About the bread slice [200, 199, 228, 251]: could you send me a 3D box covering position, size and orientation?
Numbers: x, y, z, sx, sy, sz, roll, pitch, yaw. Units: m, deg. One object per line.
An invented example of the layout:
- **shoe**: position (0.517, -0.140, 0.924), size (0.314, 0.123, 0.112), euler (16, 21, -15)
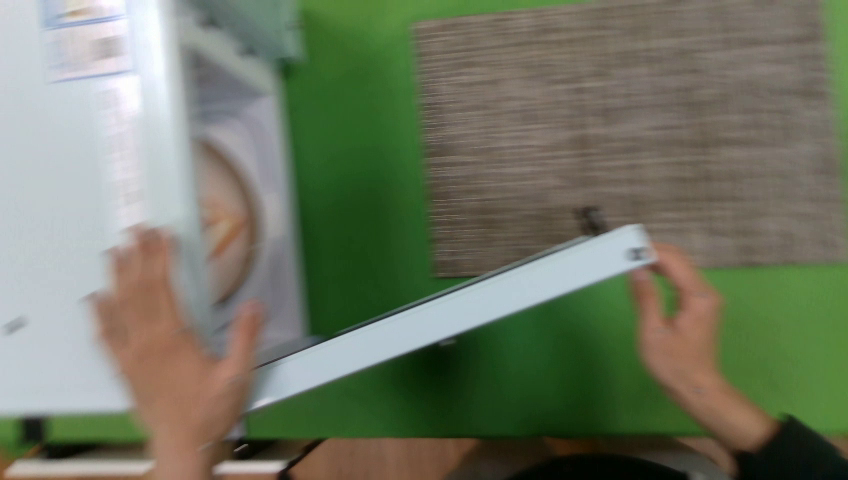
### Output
- **bread slice**: position (-0.280, -0.022, 0.616), size (0.131, 0.019, 0.105), euler (43, 97, 4)

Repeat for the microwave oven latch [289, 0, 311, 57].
- **microwave oven latch**: position (-0.150, -0.255, 0.700), size (0.030, 0.029, 0.079), euler (-4, 90, 8)

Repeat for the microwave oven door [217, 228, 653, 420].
- **microwave oven door**: position (0.017, 0.067, 0.572), size (0.356, 0.244, 0.039), euler (-23, 85, 8)

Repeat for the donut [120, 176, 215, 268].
- **donut**: position (-0.272, -0.019, 0.642), size (0.099, 0.048, 0.099), euler (0, 89, 4)

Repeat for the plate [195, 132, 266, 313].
- **plate**: position (-0.270, -0.016, 0.672), size (0.207, 0.039, 0.207), euler (0, 90, 8)

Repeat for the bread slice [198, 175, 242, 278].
- **bread slice**: position (-0.270, -0.022, 0.672), size (0.134, 0.018, 0.107), euler (33, 85, -5)

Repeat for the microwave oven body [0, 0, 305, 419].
- **microwave oven body**: position (-0.297, -0.068, 0.624), size (0.325, 0.260, 0.441), euler (-5, 89, 8)
